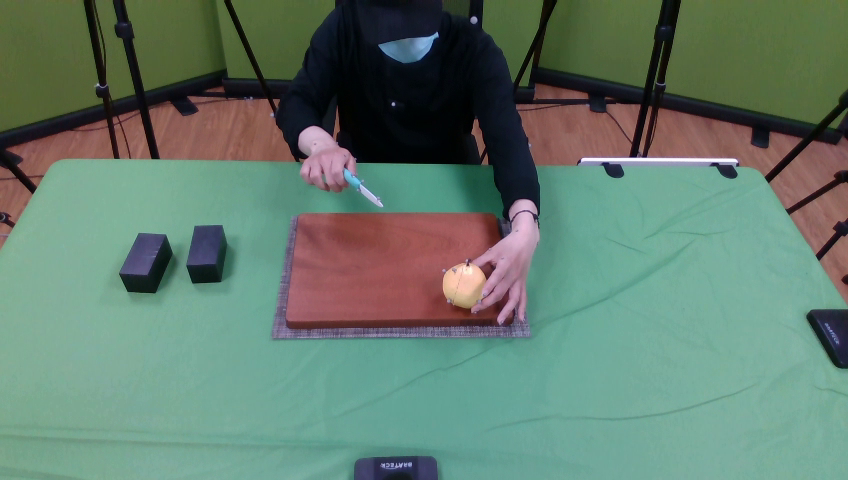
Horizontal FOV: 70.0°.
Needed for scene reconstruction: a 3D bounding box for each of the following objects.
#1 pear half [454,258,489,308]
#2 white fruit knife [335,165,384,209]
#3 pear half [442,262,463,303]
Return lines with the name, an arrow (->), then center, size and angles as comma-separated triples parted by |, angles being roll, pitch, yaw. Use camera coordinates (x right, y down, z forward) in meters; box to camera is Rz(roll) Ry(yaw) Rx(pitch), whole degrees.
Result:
pear half -> 0.084, 0.069, 1.032 | 0.056, 0.110, 0.076 | 8, 52, 4
white fruit knife -> -0.115, -0.095, 1.070 | 0.016, 0.027, 0.206 | -28, 35, -17
pear half -> 0.048, 0.070, 1.044 | 0.031, 0.088, 0.070 | 8, 55, 2
